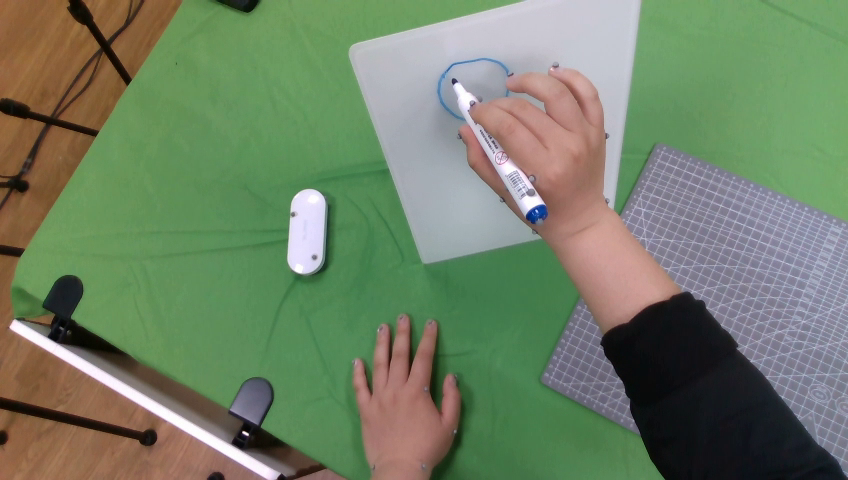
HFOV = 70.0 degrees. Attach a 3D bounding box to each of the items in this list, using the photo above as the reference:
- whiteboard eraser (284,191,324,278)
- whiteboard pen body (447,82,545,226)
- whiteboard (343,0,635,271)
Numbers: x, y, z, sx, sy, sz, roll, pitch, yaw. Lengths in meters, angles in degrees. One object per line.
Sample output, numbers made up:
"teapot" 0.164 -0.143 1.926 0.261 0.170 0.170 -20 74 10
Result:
"whiteboard eraser" -0.138 -0.007 0.698 0.041 0.019 0.101 0 77 5
"whiteboard pen body" 0.046 -0.067 0.430 0.017 0.017 0.139 -27 61 0
"whiteboard" 0.064 -0.130 0.591 0.217 0.308 0.142 -13 55 4
